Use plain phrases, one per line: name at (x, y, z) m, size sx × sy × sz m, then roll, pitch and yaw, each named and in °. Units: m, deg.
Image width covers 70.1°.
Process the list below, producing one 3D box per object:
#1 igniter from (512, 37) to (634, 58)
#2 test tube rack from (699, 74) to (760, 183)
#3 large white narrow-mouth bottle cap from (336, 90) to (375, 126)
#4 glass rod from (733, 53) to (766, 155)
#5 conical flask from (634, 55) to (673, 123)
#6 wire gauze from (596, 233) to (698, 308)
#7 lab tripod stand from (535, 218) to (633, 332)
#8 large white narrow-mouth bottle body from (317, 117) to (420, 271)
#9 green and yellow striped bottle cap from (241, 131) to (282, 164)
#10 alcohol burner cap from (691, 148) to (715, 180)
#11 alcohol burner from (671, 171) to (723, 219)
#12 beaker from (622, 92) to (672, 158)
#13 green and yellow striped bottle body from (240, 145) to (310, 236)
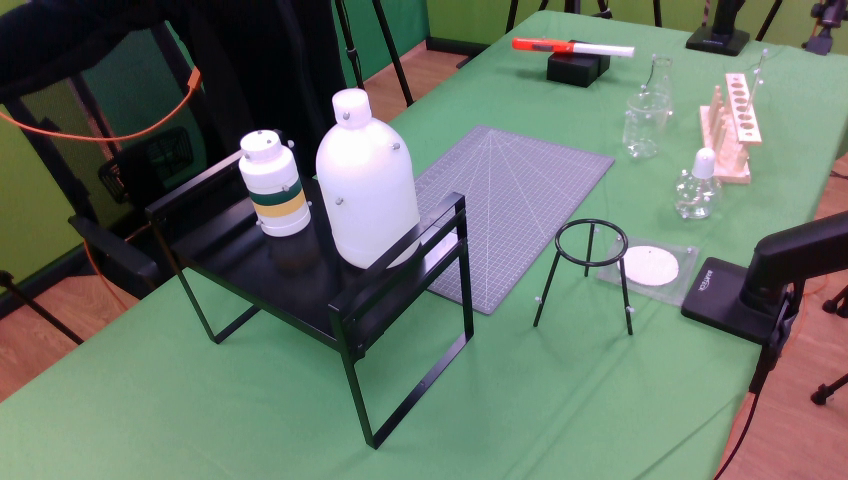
igniter at (0.328, -0.433, 1.360) m, size 0.275 × 0.025 × 0.057 m, roll 12°, pitch 33°, yaw 20°
test tube rack at (0.547, -0.208, 1.095) m, size 0.066 × 0.085 × 0.242 m, roll 6°, pitch 42°, yaw 16°
large white narrow-mouth bottle cap at (-0.068, -0.130, 0.595) m, size 0.038 × 0.024 × 0.037 m, roll -3°, pitch 41°, yaw 3°
glass rod at (0.540, -0.220, 1.006) m, size 0.008 × 0.201 × 0.008 m, roll -5°, pitch 45°, yaw 6°
conical flask at (0.456, -0.297, 1.182) m, size 0.075 × 0.122 × 0.075 m, roll -4°, pitch 41°, yaw 4°
wire gauze at (0.331, 0.038, 0.897) m, size 0.124 × 0.011 × 0.121 m, roll 18°, pitch 47°, yaw 26°
lab tripod stand at (0.215, 0.050, 0.803) m, size 0.148 × 0.132 × 0.147 m, roll -4°, pitch 43°, yaw 4°
large white narrow-mouth bottle body at (-0.062, -0.065, 0.653) m, size 0.102 × 0.195 × 0.101 m, roll -3°, pitch 41°, yaw 3°
green and yellow striped bottle cap at (-0.187, -0.107, 0.695) m, size 0.045 × 0.020 × 0.045 m, roll -3°, pitch 39°, yaw 3°
alcohol burner cap at (0.432, -0.120, 0.931) m, size 0.034 × 0.048 × 0.033 m, roll -7°, pitch 48°, yaw 8°
alcohol burner at (0.434, -0.093, 0.955) m, size 0.078 × 0.119 × 0.077 m, roll -3°, pitch 43°, yaw 3°
beaker at (0.402, -0.210, 1.106) m, size 0.074 × 0.101 × 0.083 m, roll -8°, pitch 40°, yaw -2°
green and yellow striped bottle body at (-0.181, -0.068, 0.729) m, size 0.063 × 0.120 × 0.063 m, roll -4°, pitch 40°, yaw 4°
